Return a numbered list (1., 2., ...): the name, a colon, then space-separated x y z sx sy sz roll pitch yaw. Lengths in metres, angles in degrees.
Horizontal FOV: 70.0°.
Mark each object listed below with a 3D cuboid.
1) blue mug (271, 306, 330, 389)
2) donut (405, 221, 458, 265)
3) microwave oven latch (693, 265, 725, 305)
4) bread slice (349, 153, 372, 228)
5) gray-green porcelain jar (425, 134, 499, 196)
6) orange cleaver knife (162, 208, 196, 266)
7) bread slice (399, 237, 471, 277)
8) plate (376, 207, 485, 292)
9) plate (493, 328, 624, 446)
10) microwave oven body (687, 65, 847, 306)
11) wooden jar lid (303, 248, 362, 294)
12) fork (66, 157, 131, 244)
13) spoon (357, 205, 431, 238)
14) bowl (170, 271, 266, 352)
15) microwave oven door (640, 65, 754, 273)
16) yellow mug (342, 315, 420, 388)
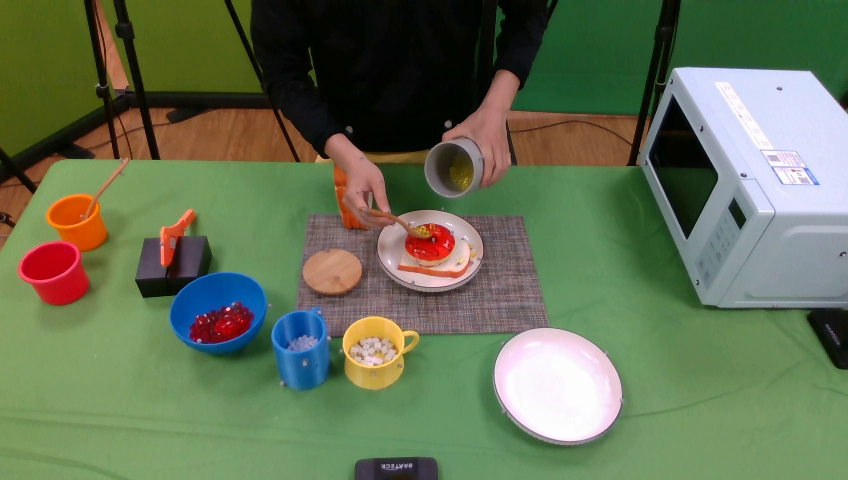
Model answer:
1. blue mug: -0.188 0.163 0.969 0.082 0.106 0.116 15 47 10
2. donut: 0.014 0.004 1.136 0.099 0.048 0.098 0 46 0
3. microwave oven latch: 0.522 0.081 1.115 0.030 0.029 0.078 2 46 -1
4. bread slice: -0.126 -0.104 1.207 0.018 0.135 0.106 1 48 6
5. gray-green porcelain jar: 0.076 -0.144 1.145 0.105 0.106 0.126 27 25 21
6. orange cleaver knife: -0.454 -0.010 1.129 0.012 0.077 0.210 -1 17 -6
7. bread slice: 0.025 0.023 1.159 0.131 0.019 0.104 9 47 5
8. plate: 0.012 0.021 1.159 0.209 0.038 0.208 2 47 -2
9. plate: 0.213 0.236 0.974 0.208 0.039 0.206 2 46 -2
10. microwave oven body: 0.669 -0.111 1.176 0.326 0.261 0.439 0 46 -3
11. wooden jar lid: -0.169 0.060 1.122 0.108 0.021 0.107 2 46 -2
12. fork: -0.608 -0.074 1.132 0.207 0.019 0.028 -52 48 10
13. spoon: -0.049 -0.034 1.042 0.041 0.195 0.021 32 94 37
14. bowl: -0.333 0.132 1.006 0.151 0.077 0.150 2 46 -2
15. microwave oven door: 0.523 -0.147 1.193 0.039 0.245 0.353 0 47 -3
16. yellow mug: -0.068 0.177 0.990 0.131 0.064 0.099 -15 50 -19
